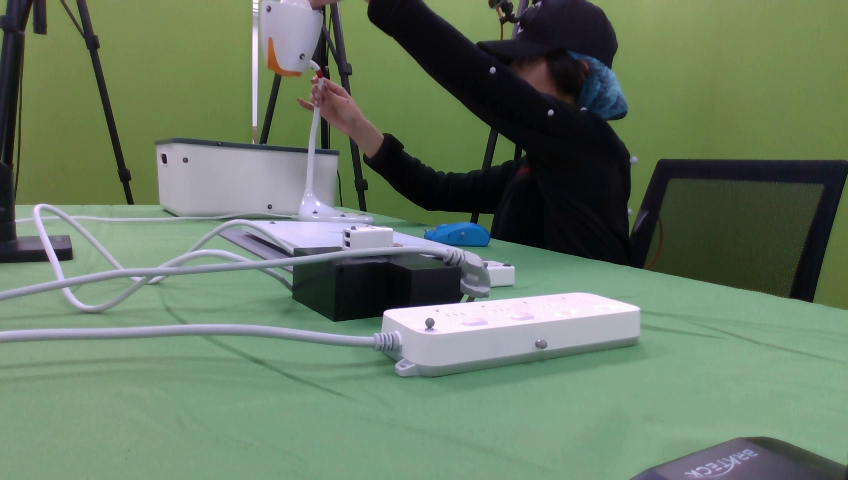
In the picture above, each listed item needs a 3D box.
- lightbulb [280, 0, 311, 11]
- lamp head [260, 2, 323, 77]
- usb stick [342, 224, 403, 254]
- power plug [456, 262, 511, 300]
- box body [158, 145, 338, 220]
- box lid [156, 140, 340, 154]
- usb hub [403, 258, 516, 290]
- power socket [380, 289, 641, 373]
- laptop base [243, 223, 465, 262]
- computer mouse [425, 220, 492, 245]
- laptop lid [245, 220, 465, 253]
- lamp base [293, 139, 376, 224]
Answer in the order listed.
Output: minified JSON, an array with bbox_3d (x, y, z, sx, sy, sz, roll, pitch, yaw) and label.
[{"bbox_3d":[-0.238,-0.386,1.093,0.059,0.107,0.059,15,15,-4],"label":"lightbulb"},{"bbox_3d":[-0.246,-0.361,1.107,0.112,0.123,0.112,7,15,-2],"label":"lamp head"},{"bbox_3d":[-0.047,-0.001,0.567,0.059,0.027,0.021,0,5,-32],"label":"usb stick"},{"bbox_3d":[0.052,0.051,0.543,0.035,0.052,0.072,6,38,-20],"label":"power plug"},{"bbox_3d":[-0.410,-0.139,1.414,0.366,0.160,0.253,-3,8,-33],"label":"box body"},{"bbox_3d":[-0.409,-0.213,1.404,0.373,0.015,0.262,-2,8,-32],"label":"box lid"},{"bbox_3d":[0.042,0.038,0.690,0.126,0.025,0.049,-2,9,-29],"label":"usb hub"},{"bbox_3d":[0.072,0.064,0.461,0.228,0.032,0.072,-2,8,-30],"label":"power socket"},{"bbox_3d":[-0.126,0.003,0.946,0.237,0.023,0.352,2,6,-31],"label":"laptop base"},{"bbox_3d":[0.060,-0.013,1.060,0.117,0.041,0.062,-2,9,-6],"label":"computer mouse"},{"bbox_3d":[-0.124,-0.009,0.945,0.243,0.013,0.355,1,7,-29],"label":"laptop lid"},{"bbox_3d":[-0.191,-0.121,1.257,0.179,0.180,0.161,0,6,7],"label":"lamp base"}]
